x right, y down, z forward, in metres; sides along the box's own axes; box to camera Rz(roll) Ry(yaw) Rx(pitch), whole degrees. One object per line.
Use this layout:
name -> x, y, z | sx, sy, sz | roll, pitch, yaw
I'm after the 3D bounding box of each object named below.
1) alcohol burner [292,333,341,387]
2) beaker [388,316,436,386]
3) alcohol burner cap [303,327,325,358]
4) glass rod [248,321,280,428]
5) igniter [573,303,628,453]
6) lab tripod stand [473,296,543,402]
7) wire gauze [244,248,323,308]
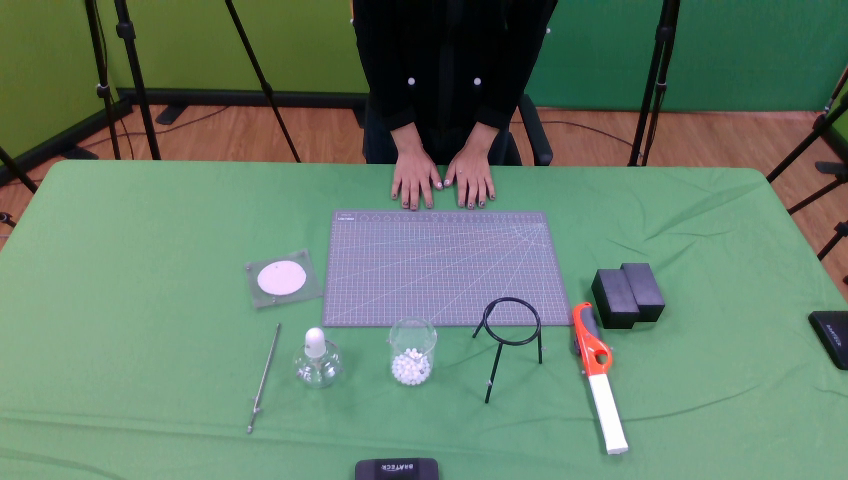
alcohol burner -> -0.170, 0.179, 0.950 | 0.078, 0.120, 0.077 | 2, 48, -2
beaker -> -0.019, 0.183, 0.968 | 0.074, 0.101, 0.083 | -7, 48, -10
alcohol burner cap -> -0.169, 0.154, 0.925 | 0.034, 0.048, 0.033 | 4, 41, -3
glass rod -> -0.257, 0.213, 0.984 | 0.008, 0.008, 0.198 | 4, 46, 1
igniter -> 0.288, 0.216, 1.006 | 0.057, 0.025, 0.274 | -9, 46, 8
lab tripod stand -> 0.132, 0.168, 0.969 | 0.148, 0.132, 0.147 | 3, 48, -3
wire gauze -> -0.262, 0.071, 1.121 | 0.125, 0.011, 0.120 | -11, 48, -17
